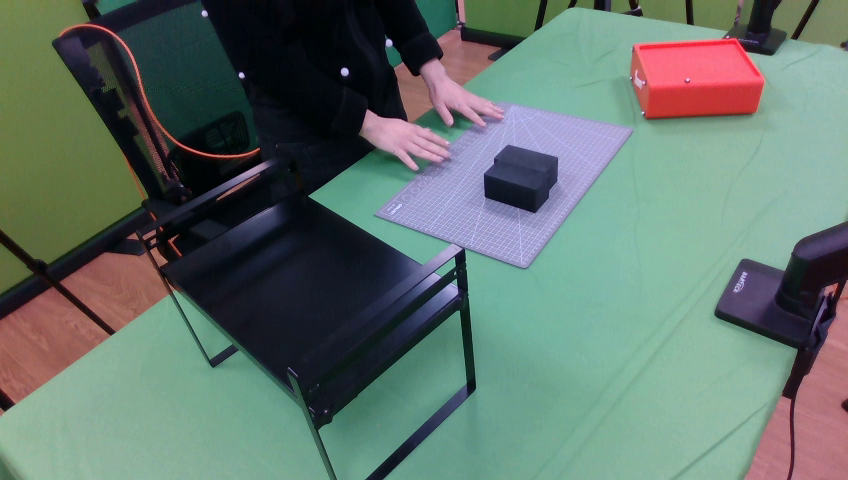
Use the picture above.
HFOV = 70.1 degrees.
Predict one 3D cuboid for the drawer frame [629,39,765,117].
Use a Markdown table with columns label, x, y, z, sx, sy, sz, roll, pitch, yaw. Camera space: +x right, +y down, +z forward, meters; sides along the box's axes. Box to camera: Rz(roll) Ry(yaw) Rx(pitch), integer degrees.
| label | x | y | z | sx | sy | sz | roll | pitch | yaw |
| --- | --- | --- | --- | --- | --- | --- | --- | --- | --- |
| drawer frame | 0.542 | -0.332 | 1.234 | 0.213 | 0.083 | 0.201 | -1 | 41 | 6 |

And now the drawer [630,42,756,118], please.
| label | x | y | z | sx | sy | sz | roll | pitch | yaw |
| --- | --- | --- | --- | --- | --- | --- | --- | --- | --- |
| drawer | 0.541 | -0.331 | 1.234 | 0.211 | 0.073 | 0.194 | -1 | 40 | 8 |

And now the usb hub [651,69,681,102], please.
| label | x | y | z | sx | sy | sz | roll | pitch | yaw |
| --- | --- | --- | --- | --- | --- | --- | --- | --- | --- |
| usb hub | 0.501 | -0.319 | 1.249 | 0.049 | 0.025 | 0.125 | 10 | 38 | 20 |
